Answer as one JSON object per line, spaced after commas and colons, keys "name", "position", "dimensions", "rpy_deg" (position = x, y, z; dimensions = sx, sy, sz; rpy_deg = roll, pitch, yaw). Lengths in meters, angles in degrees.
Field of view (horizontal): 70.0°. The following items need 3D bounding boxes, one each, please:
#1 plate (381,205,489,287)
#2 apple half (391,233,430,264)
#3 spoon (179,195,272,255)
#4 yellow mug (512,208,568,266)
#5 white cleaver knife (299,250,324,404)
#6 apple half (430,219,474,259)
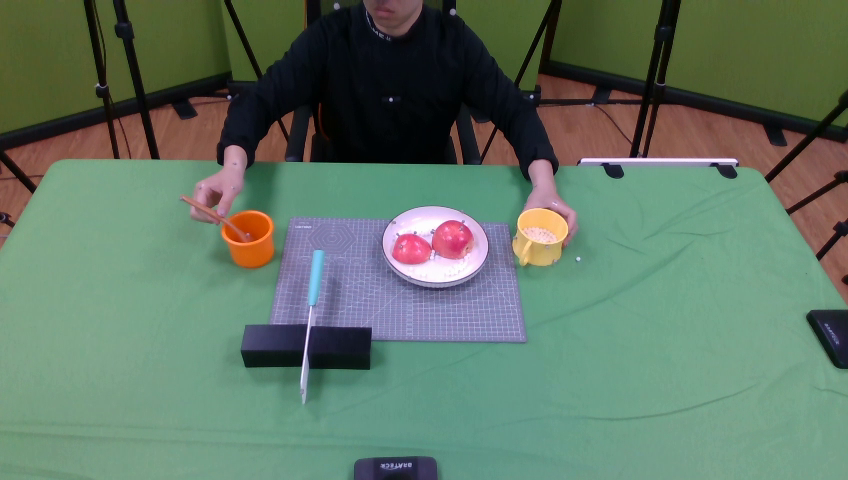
{"name": "plate", "position": [0.021, 0.015, 1.170], "dimensions": [0.209, 0.038, 0.208], "rpy_deg": [2, 46, -2]}
{"name": "apple half", "position": [-0.024, 0.009, 1.163], "dimensions": [0.081, 0.033, 0.081], "rpy_deg": [2, 43, -2]}
{"name": "spoon", "position": [-0.360, -0.028, 1.107], "dimensions": [0.021, 0.195, 0.041], "rpy_deg": [-37, 33, 19]}
{"name": "yellow mug", "position": [0.219, 0.002, 1.182], "dimensions": [0.099, 0.064, 0.130], "rpy_deg": [27, 51, 21]}
{"name": "white cleaver knife", "position": [-0.194, 0.134, 1.019], "dimensions": [0.021, 0.066, 0.284], "rpy_deg": [5, 50, -5]}
{"name": "apple half", "position": [0.056, -0.007, 1.172], "dimensions": [0.081, 0.053, 0.074], "rpy_deg": [-33, 59, -31]}
